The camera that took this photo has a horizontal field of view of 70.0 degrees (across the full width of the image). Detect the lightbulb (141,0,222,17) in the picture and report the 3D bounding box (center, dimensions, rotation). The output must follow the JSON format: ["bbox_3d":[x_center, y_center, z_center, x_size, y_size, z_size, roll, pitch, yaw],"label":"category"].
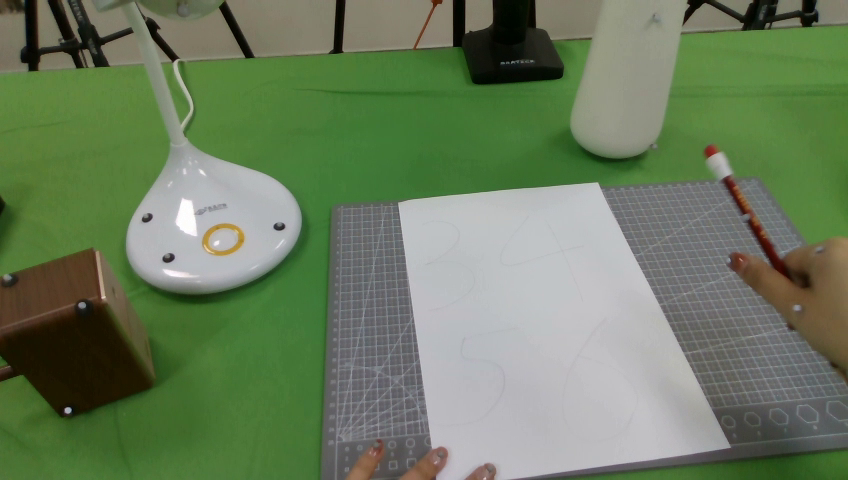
[{"bbox_3d":[-0.138,-0.171,0.311,0.059,0.108,0.059,-13,25,6],"label":"lightbulb"}]

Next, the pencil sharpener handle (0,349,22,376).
[{"bbox_3d":[-0.301,0.073,0.418,0.031,0.068,0.035,-20,52,-17],"label":"pencil sharpener handle"}]

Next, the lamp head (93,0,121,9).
[{"bbox_3d":[-0.148,-0.195,0.306,0.112,0.124,0.111,-23,23,11],"label":"lamp head"}]

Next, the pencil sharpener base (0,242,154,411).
[{"bbox_3d":[-0.255,0.066,0.442,0.077,0.108,0.060,-20,49,-17],"label":"pencil sharpener base"}]

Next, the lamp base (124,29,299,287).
[{"bbox_3d":[-0.209,-0.078,0.531,0.161,0.182,0.177,-28,50,-24],"label":"lamp base"}]

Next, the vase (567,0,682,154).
[{"bbox_3d":[0.207,-0.188,0.622,0.098,0.202,0.097,-1,45,1],"label":"vase"}]

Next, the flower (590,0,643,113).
[{"bbox_3d":[0.202,-0.230,0.548,0.044,0.364,0.038,36,69,15],"label":"flower"}]

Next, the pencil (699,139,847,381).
[{"bbox_3d":[0.241,0.009,0.419,0.012,0.012,0.192,-14,65,-12],"label":"pencil"}]
